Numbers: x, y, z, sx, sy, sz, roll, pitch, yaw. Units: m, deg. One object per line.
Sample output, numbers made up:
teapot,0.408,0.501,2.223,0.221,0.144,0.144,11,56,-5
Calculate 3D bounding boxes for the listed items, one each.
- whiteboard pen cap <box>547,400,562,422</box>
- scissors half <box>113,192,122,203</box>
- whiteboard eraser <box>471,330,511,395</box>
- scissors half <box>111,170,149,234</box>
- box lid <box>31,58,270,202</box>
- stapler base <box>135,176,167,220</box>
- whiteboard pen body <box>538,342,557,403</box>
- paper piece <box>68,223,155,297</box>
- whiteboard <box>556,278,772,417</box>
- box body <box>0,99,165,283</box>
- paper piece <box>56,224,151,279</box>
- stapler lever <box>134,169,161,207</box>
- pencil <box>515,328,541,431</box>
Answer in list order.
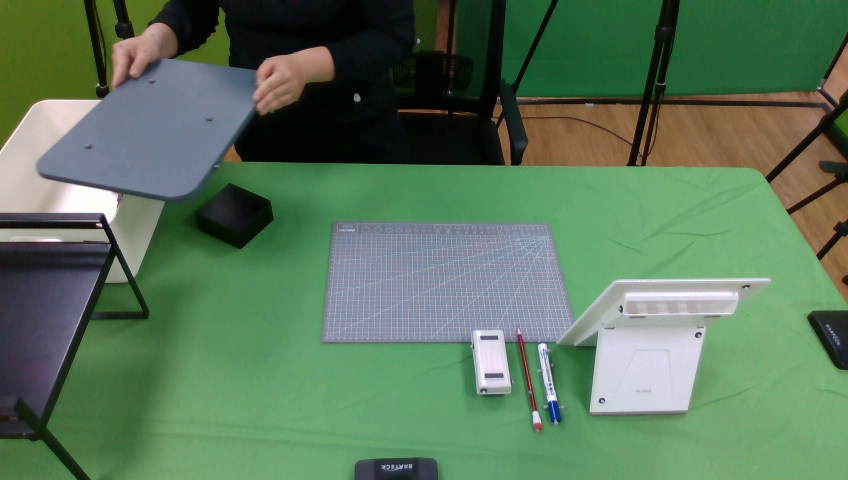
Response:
whiteboard pen cap,0.205,0.269,0.956,0.018,0.018,0.033,0,47,-5
scissors half,-0.618,-0.077,1.222,0.040,0.013,0.174,-14,52,-8
whiteboard eraser,0.110,0.202,0.998,0.055,0.042,0.112,1,46,-5
scissors half,-0.597,-0.078,1.223,0.040,0.013,0.174,6,51,2
box lid,-0.447,-0.201,1.034,0.263,0.015,0.369,10,46,5
stapler base,-0.558,-0.092,1.236,0.041,0.024,0.129,1,42,-11
whiteboard pen body,0.205,0.228,0.997,0.017,0.017,0.140,1,46,-3
paper piece,-0.597,0.035,1.141,0.136,0.009,0.137,13,52,-14
whiteboard,0.347,0.174,0.903,0.217,0.306,0.143,1,65,-4
box body,-0.639,-0.095,1.140,0.254,0.161,0.361,0,46,-4
paper piece,-0.595,0.019,1.129,0.135,0.004,0.135,0,47,-2
stapler lever,-0.556,-0.112,1.219,0.027,0.040,0.117,1,42,-11
pencil,0.169,0.224,1.002,0.012,0.012,0.192,-1,46,-6
